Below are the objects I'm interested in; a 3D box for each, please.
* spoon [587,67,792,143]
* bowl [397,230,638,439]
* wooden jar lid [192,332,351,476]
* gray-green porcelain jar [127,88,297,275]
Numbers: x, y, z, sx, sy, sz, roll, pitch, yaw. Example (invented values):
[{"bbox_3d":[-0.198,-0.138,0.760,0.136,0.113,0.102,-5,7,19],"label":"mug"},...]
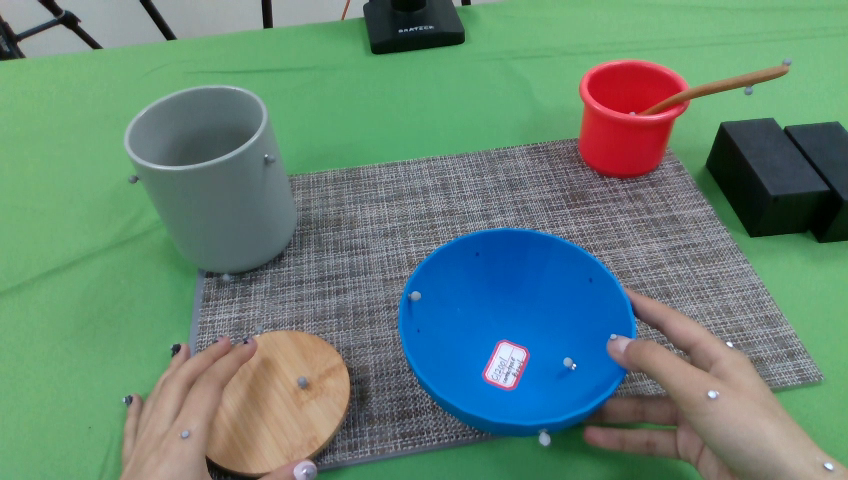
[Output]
[{"bbox_3d":[0.222,-0.117,0.535,0.041,0.022,0.193,-43,14,-29],"label":"spoon"},{"bbox_3d":[0.059,0.074,0.411,0.151,0.077,0.150,-1,48,1],"label":"bowl"},{"bbox_3d":[-0.104,0.114,0.423,0.108,0.021,0.107,-2,46,2],"label":"wooden jar lid"},{"bbox_3d":[-0.164,-0.042,0.498,0.106,0.127,0.105,-1,47,2],"label":"gray-green porcelain jar"}]
